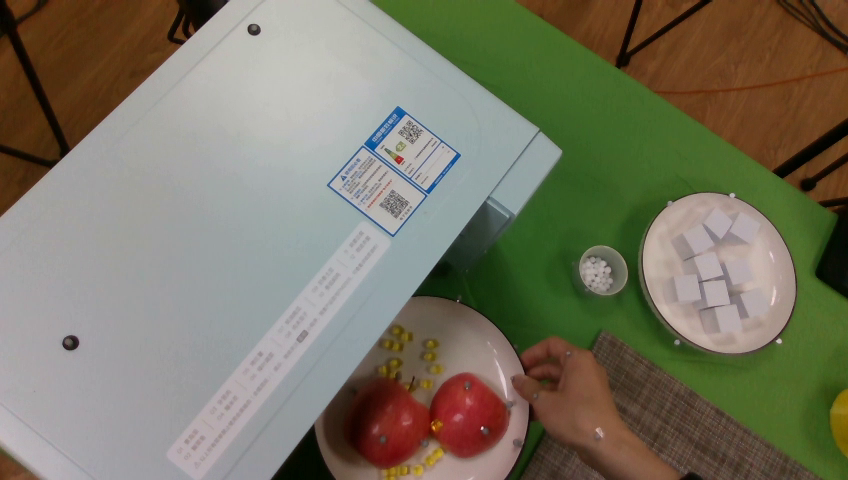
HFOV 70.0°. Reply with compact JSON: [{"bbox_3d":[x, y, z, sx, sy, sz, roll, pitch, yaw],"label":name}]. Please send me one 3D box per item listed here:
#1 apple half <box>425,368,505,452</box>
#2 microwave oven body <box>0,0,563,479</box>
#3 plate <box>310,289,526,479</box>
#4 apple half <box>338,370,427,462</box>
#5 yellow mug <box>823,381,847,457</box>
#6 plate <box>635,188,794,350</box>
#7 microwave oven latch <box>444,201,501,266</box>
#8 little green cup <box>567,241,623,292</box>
[{"bbox_3d":[0.039,0.165,0.582,0.081,0.033,0.081,2,74,-5],"label":"apple half"},{"bbox_3d":[-0.153,0.010,0.574,0.326,0.261,0.440,38,74,1],"label":"microwave oven body"},{"bbox_3d":[-0.007,0.153,0.586,0.209,0.038,0.208,2,76,-8],"label":"plate"},{"bbox_3d":[-0.039,0.164,0.562,0.074,0.053,0.080,-44,86,-12],"label":"apple half"},{"bbox_3d":[0.554,0.236,0.734,0.100,0.064,0.130,7,76,-8],"label":"yellow mug"},{"bbox_3d":[0.363,0.036,0.768,0.208,0.039,0.206,2,76,-8],"label":"plate"},{"bbox_3d":[0.057,-0.009,0.712,0.030,0.029,0.079,40,74,2],"label":"microwave oven latch"},{"bbox_3d":[0.207,0.036,0.743,0.062,0.039,0.061,2,77,-9],"label":"little green cup"}]
